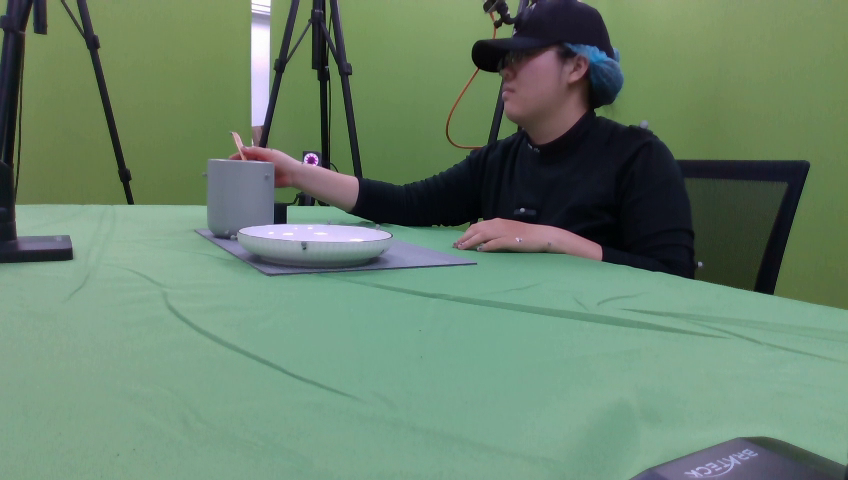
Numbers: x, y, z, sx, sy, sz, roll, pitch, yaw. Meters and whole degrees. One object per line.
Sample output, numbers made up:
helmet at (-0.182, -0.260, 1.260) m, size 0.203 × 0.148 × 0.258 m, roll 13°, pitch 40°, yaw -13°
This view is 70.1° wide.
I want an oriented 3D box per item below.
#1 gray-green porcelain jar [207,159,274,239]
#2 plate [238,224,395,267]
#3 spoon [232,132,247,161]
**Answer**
gray-green porcelain jar at (-0.304, -0.068, 1.004) m, size 0.106 × 0.126 × 0.106 m, roll 3°, pitch 7°, yaw 0°
plate at (-0.144, 0.007, 0.823) m, size 0.208 × 0.039 × 0.207 m, roll 3°, pitch 7°, yaw 0°
spoon at (-0.356, -0.152, 1.204) m, size 0.042 × 0.021 × 0.193 m, roll -2°, pitch 52°, yaw -30°
